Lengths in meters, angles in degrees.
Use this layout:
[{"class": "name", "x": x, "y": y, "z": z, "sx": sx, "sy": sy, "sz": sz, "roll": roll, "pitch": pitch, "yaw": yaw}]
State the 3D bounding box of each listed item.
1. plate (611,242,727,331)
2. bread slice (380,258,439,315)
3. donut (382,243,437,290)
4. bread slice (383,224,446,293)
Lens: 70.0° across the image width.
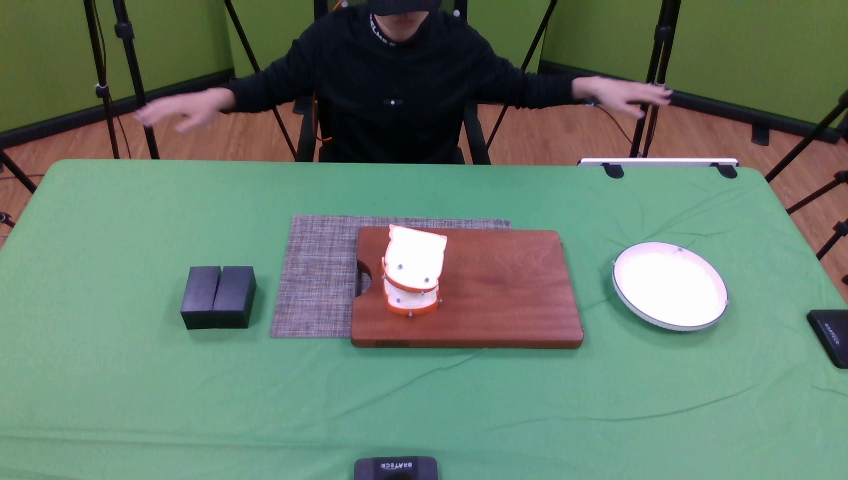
[{"class": "plate", "x": 0.455, "y": 0.090, "z": 1.138, "sx": 0.209, "sy": 0.038, "sz": 0.208, "roll": 3, "pitch": 45, "yaw": -2}, {"class": "bread slice", "x": -0.024, "y": 0.079, "z": 1.087, "sx": 0.105, "sy": 0.019, "sz": 0.130, "roll": -2, "pitch": 45, "yaw": -5}, {"class": "donut", "x": -0.026, "y": 0.046, "z": 1.077, "sx": 0.099, "sy": 0.048, "sz": 0.098, "roll": 4, "pitch": 45, "yaw": -3}, {"class": "bread slice", "x": -0.017, "y": 0.034, "z": 1.050, "sx": 0.107, "sy": 0.018, "sz": 0.133, "roll": 11, "pitch": 48, "yaw": -7}]
